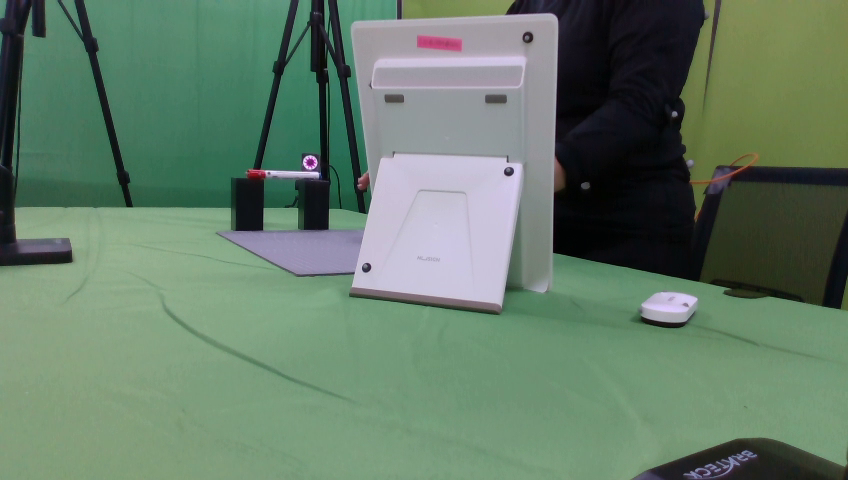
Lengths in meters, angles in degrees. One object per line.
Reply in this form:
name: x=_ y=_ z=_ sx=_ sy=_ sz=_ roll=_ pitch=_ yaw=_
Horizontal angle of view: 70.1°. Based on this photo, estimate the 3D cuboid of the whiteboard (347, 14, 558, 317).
whiteboard: x=0.012 y=-0.056 z=0.609 sx=0.216 sy=0.305 sz=0.144 roll=5 pitch=27 yaw=20

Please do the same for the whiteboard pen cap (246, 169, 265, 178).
whiteboard pen cap: x=-0.318 y=-0.125 z=1.143 sx=0.032 sy=0.017 sz=0.017 roll=-1 pitch=8 yaw=-35

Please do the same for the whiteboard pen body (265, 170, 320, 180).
whiteboard pen body: x=-0.268 y=-0.127 z=1.179 sx=0.141 sy=0.017 sz=0.017 roll=-2 pitch=8 yaw=-36

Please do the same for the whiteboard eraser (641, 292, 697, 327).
whiteboard eraser: x=0.240 y=0.066 z=0.590 sx=0.041 sy=0.019 sz=0.102 roll=6 pitch=7 yaw=31
